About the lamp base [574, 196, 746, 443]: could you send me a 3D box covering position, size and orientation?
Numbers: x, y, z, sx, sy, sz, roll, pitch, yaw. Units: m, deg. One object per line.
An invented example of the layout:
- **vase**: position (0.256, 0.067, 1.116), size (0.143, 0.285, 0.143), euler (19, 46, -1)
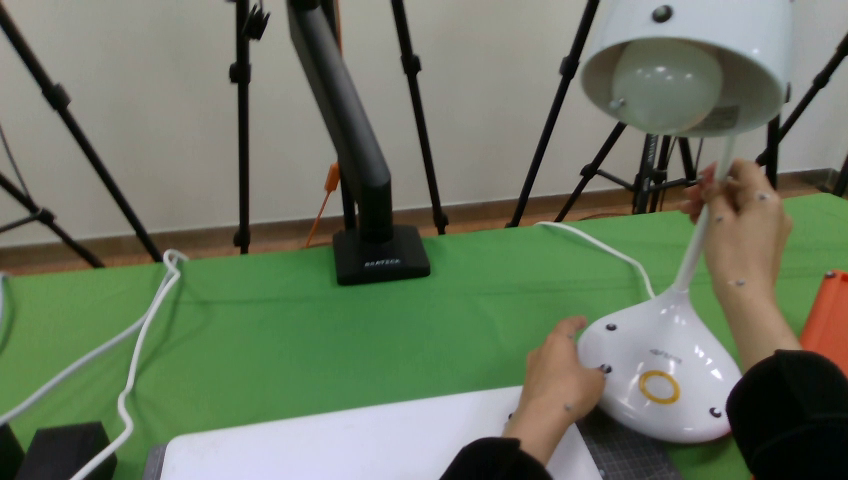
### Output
- **lamp base**: position (0.234, 0.059, 0.554), size (0.160, 0.181, 0.178), euler (12, 32, 11)

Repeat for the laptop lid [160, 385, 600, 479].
- **laptop lid**: position (-0.028, 0.218, 0.457), size (0.357, 0.013, 0.239), euler (-5, 34, -8)

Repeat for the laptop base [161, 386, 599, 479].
- **laptop base**: position (-0.027, 0.226, 0.465), size (0.355, 0.023, 0.233), euler (-6, 36, -9)

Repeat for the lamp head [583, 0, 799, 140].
- **lamp head**: position (0.165, -0.133, 0.358), size (0.112, 0.113, 0.122), euler (15, 74, 23)

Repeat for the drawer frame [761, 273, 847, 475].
- **drawer frame**: position (0.444, 0.138, 0.548), size (0.200, 0.083, 0.213), euler (21, 37, 31)

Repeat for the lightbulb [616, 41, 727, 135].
- **lightbulb**: position (0.150, -0.113, 0.351), size (0.059, 0.107, 0.059), euler (20, -3, 2)

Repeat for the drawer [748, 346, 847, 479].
- **drawer**: position (0.377, 0.186, 0.475), size (0.193, 0.074, 0.211), euler (21, 37, 32)
